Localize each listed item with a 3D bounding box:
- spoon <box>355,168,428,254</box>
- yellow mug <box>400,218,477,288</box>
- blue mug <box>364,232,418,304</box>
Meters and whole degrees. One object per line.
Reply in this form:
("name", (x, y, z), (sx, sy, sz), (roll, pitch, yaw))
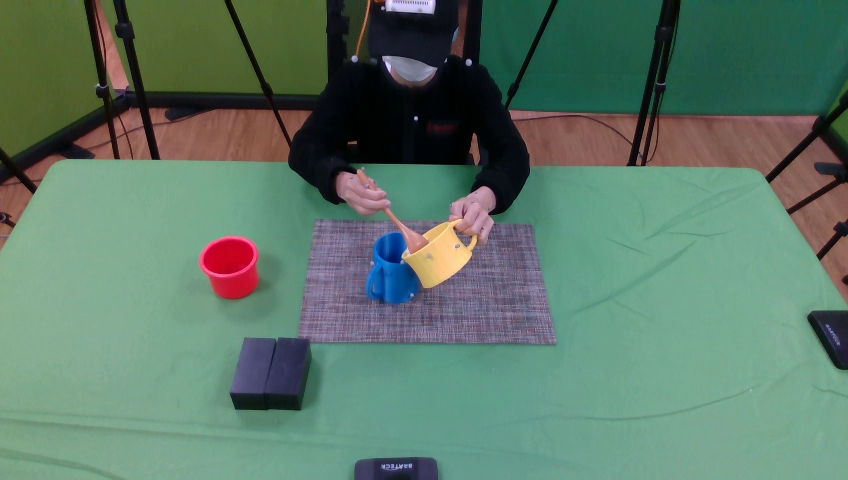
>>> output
("spoon", (-0.053, -0.039, 1.002), (0.041, 0.021, 0.194), (-41, 93, -23))
("yellow mug", (0.031, 0.014, 1.003), (0.131, 0.099, 0.064), (-37, 100, -9))
("blue mug", (-0.063, 0.059, 1.074), (0.082, 0.106, 0.116), (35, 53, 27))
